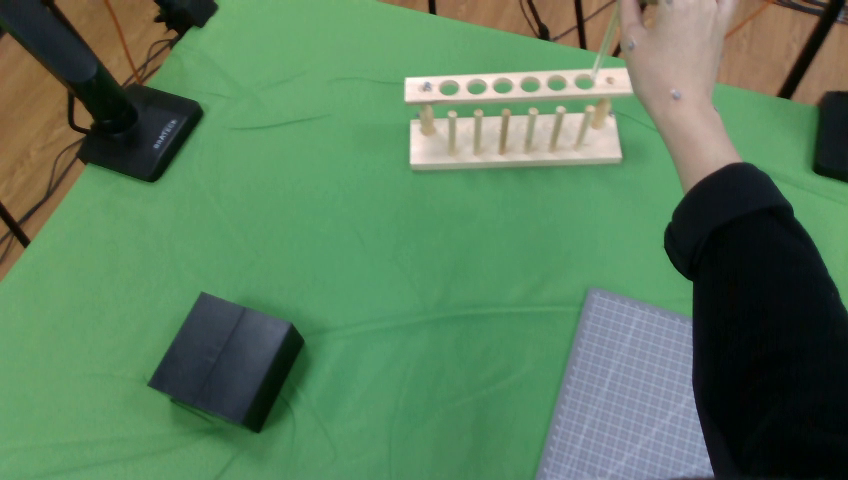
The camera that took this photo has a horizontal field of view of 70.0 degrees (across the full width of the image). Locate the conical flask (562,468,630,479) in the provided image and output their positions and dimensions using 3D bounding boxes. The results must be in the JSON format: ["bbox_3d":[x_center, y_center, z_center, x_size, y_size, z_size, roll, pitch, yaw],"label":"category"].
[{"bbox_3d":[0.144,0.214,0.479,0.075,0.123,0.074,-2,62,3],"label":"conical flask"}]

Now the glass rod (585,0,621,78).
[{"bbox_3d":[0.162,-0.194,0.527,0.008,0.200,0.008,-1,76,3],"label":"glass rod"}]

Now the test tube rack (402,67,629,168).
[{"bbox_3d":[0.100,-0.136,0.685,0.242,0.086,0.066,-2,63,3],"label":"test tube rack"}]
